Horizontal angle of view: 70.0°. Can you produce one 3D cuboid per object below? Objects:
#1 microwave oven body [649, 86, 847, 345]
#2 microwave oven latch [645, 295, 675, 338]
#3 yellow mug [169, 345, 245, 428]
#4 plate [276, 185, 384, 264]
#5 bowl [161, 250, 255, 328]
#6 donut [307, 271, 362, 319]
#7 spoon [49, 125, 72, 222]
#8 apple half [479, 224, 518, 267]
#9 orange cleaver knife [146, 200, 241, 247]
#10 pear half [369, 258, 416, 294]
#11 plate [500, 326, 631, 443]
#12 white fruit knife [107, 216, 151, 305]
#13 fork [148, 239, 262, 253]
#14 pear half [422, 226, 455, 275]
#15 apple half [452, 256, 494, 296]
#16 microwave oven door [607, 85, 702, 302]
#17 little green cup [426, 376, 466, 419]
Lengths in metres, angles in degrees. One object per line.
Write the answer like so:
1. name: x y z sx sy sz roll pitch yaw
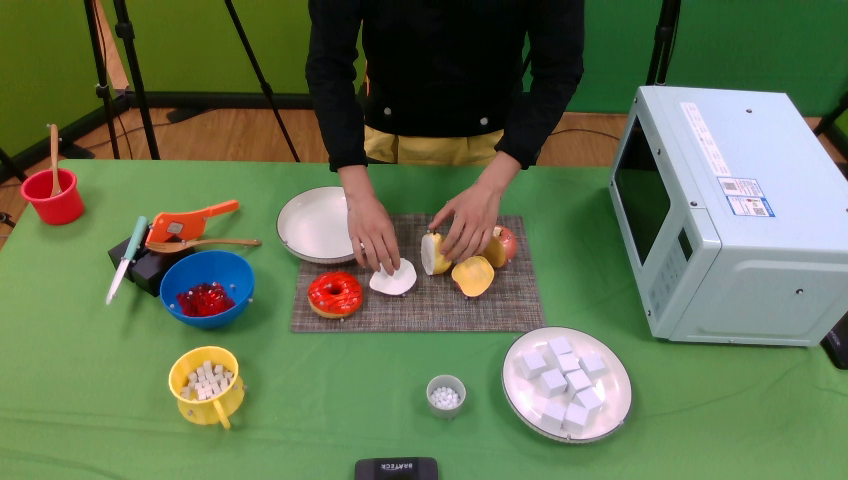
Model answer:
1. microwave oven body: 0.567 -0.053 1.118 0.326 0.261 0.439 2 45 -1
2. microwave oven latch: 0.411 0.133 1.061 0.030 0.029 0.078 3 45 0
3. yellow mug: -0.322 0.230 0.922 0.100 0.064 0.130 -24 53 -25
4. plate: -0.184 -0.027 1.195 0.209 0.038 0.208 2 46 -2
5. bowl: -0.362 0.097 1.040 0.151 0.077 0.150 2 45 -2
6. donut: -0.157 0.097 1.073 0.099 0.048 0.098 4 45 -4
7. spoon: -0.717 -0.131 1.189 0.042 0.021 0.193 -3 90 -7
8. apple half: 0.148 0.008 1.160 0.053 0.075 0.080 -24 48 -29
9. orange cleaver knife: -0.435 -0.033 1.157 0.012 0.077 0.211 31 26 19
10. pear half: -0.058 0.072 1.113 0.088 0.031 0.070 -22 62 -13
11. plate: 0.224 0.233 0.978 0.208 0.039 0.206 2 46 -2
12. white fruit knife: -0.518 0.032 1.066 0.027 0.016 0.206 -18 45 19
13. fork: -0.398 0.008 1.117 0.208 0.019 0.028 -5 34 -37
14. pear half: 0.030 0.012 1.122 0.056 0.110 0.076 -16 53 -19
15. apple half: 0.095 0.070 1.120 0.081 0.033 0.081 -7 63 14
16. microwave oven door: 0.423 -0.094 1.140 0.039 0.245 0.353 2 46 -1
17. little green cup: 0.033 0.248 0.950 0.061 0.039 0.061 2 46 -2
